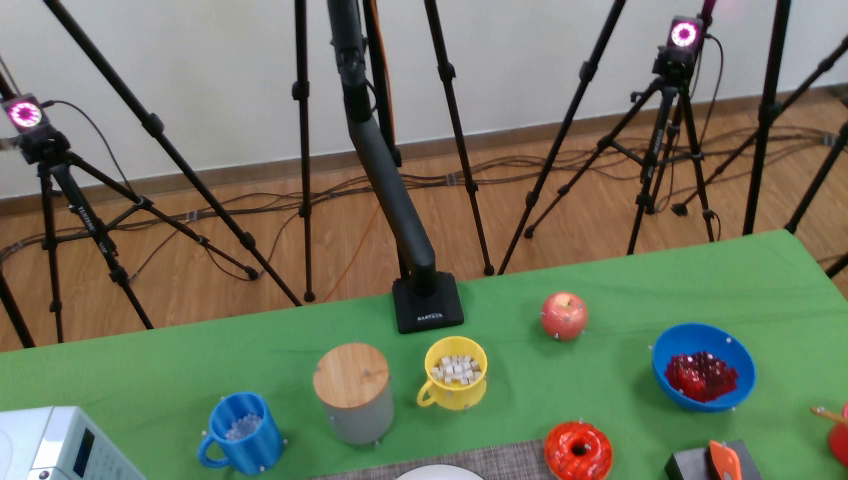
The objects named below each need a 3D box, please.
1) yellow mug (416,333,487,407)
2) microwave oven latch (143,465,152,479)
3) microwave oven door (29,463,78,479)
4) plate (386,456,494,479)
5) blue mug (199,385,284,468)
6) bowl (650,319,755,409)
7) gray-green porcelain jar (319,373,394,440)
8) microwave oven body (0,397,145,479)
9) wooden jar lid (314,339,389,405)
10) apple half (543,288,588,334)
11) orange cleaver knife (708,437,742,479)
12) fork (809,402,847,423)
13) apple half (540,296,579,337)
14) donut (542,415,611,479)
[{"bbox_3d":[0.039,0.217,0.973,0.131,0.064,0.099,-33,54,-24],"label":"yellow mug"},{"bbox_3d":[-0.409,0.363,0.858,0.030,0.030,0.078,-4,48,-1],"label":"microwave oven latch"},{"bbox_3d":[-0.398,0.452,0.634,0.039,0.246,0.352,-6,47,-1],"label":"microwave oven door"},{"bbox_3d":[0.021,0.399,0.818,0.207,0.039,0.205,-2,47,2],"label":"plate"},{"bbox_3d":[-0.274,0.287,0.899,0.116,0.107,0.081,-28,51,-20],"label":"blue mug"},{"bbox_3d":[0.425,0.207,0.949,0.151,0.077,0.150,-2,47,2],"label":"bowl"},{"bbox_3d":[-0.101,0.235,0.922,0.106,0.128,0.105,-2,47,2],"label":"gray-green porcelain jar"},{"bbox_3d":[-0.546,0.439,0.663,0.326,0.262,0.437,-5,48,-2],"label":"microwave oven body"},{"bbox_3d":[-0.104,0.193,0.877,0.108,0.021,0.107,-2,45,3],"label":"wooden jar lid"},{"bbox_3d":[0.250,0.119,1.045,0.053,0.075,0.080,-31,48,-29],"label":"apple half"},{"bbox_3d":[0.415,0.368,0.796,0.012,0.077,0.210,-8,72,-3],"label":"orange cleaver knife"},{"bbox_3d":[0.593,0.257,0.845,0.209,0.018,0.028,27,40,-29],"label":"fork"},{"bbox_3d":[0.221,0.139,1.027,0.033,0.082,0.080,-32,53,-29],"label":"apple half"},{"bbox_3d":[0.223,0.305,0.889,0.099,0.049,0.098,-1,48,2],"label":"donut"}]
